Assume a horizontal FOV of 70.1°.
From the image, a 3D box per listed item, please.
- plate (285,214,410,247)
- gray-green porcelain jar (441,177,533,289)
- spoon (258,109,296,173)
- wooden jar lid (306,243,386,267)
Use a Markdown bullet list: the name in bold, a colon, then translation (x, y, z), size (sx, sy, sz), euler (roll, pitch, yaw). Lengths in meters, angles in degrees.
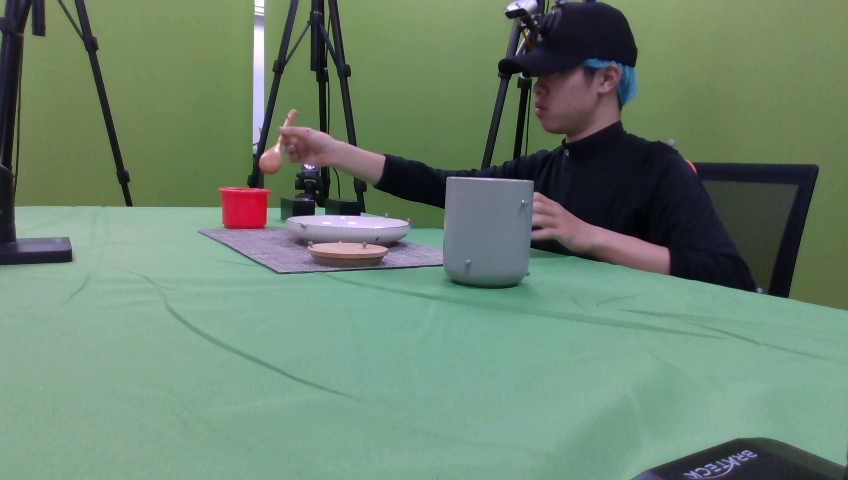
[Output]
- **plate**: translation (-0.127, -0.015, 1.012), size (0.208, 0.039, 0.207), euler (3, 7, 0)
- **gray-green porcelain jar**: translation (0.075, -0.010, 0.727), size (0.106, 0.126, 0.106), euler (2, 7, 0)
- **spoon**: translation (-0.293, -0.206, 1.230), size (0.042, 0.021, 0.193), euler (18, 46, -10)
- **wooden jar lid**: translation (-0.105, 0.020, 0.816), size (0.108, 0.020, 0.108), euler (1, 7, 0)
